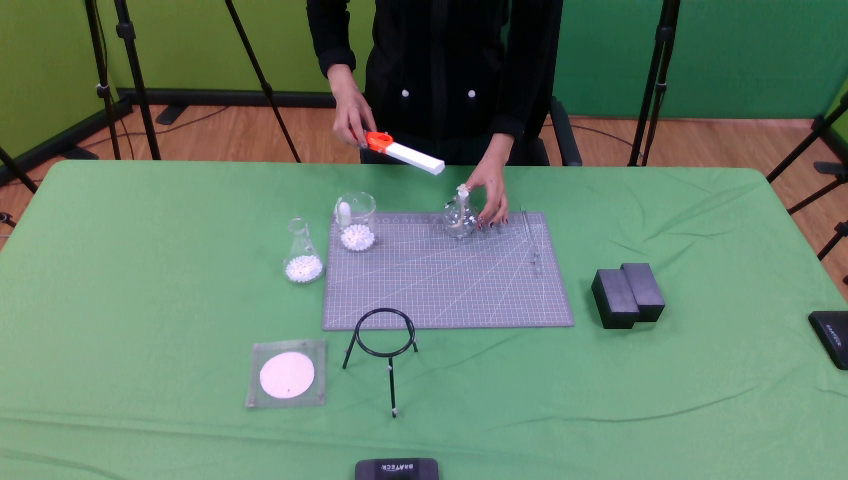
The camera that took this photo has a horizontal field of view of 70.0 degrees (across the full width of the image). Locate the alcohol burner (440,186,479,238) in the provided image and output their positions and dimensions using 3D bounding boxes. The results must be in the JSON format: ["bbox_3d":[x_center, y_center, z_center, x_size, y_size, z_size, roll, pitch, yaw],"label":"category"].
[{"bbox_3d":[0.072,-0.062,1.198,0.078,0.119,0.077,4,47,-4],"label":"alcohol burner"}]

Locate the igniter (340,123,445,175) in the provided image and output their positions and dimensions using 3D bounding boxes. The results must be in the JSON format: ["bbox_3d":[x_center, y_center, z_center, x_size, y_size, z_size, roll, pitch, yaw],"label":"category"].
[{"bbox_3d":[-0.071,-0.184,1.199,0.275,0.025,0.057,27,51,34],"label":"igniter"}]

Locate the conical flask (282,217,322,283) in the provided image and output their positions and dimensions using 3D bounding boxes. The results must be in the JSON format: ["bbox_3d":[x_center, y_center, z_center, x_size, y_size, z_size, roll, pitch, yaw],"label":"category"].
[{"bbox_3d":[-0.225,0.016,1.097,0.075,0.122,0.075,2,46,-2],"label":"conical flask"}]

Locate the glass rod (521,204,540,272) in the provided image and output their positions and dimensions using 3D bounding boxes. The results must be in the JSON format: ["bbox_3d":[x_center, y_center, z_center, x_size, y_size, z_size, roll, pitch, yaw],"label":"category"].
[{"bbox_3d":[0.215,-0.008,1.230,0.008,0.008,0.198,0,43,-3],"label":"glass rod"}]

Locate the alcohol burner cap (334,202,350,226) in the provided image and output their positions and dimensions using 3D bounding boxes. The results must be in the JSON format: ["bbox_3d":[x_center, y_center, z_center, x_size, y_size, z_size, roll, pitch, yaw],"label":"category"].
[{"bbox_3d":[-0.166,-0.056,1.222,0.034,0.048,0.033,2,46,-2],"label":"alcohol burner cap"}]

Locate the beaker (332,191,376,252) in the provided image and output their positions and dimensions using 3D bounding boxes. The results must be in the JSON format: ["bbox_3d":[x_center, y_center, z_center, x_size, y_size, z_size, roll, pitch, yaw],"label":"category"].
[{"bbox_3d":[-0.133,-0.032,1.163,0.084,0.101,0.073,-19,50,-20],"label":"beaker"}]

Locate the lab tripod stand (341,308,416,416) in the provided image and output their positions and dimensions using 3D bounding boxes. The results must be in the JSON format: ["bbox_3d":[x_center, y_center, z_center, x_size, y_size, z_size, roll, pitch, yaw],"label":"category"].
[{"bbox_3d":[-0.061,0.177,0.946,0.148,0.132,0.147,2,44,-2],"label":"lab tripod stand"}]

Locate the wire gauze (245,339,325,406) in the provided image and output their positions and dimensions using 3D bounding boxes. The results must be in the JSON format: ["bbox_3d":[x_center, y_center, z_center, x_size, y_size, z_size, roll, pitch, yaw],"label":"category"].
[{"bbox_3d":[-0.224,0.214,0.984,0.125,0.011,0.120,-2,46,-5],"label":"wire gauze"}]
